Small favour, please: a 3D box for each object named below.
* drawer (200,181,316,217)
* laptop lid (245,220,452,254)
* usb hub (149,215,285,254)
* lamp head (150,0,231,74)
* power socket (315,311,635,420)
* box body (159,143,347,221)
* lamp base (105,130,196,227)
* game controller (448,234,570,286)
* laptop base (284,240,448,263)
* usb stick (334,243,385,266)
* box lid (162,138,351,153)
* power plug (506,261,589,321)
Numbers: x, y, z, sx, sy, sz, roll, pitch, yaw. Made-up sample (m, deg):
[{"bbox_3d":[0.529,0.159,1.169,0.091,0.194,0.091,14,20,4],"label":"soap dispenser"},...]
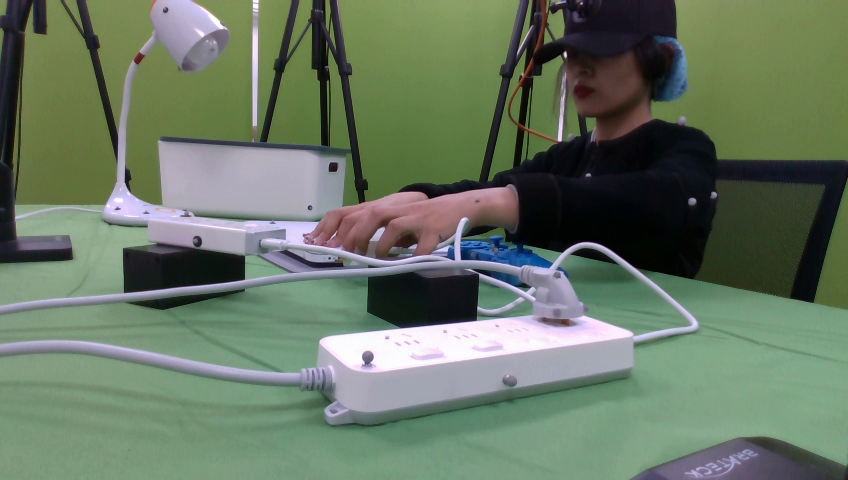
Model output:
[{"bbox_3d":[-0.372,-0.097,1.393,0.212,0.073,0.194,1,9,6],"label":"drawer"},{"bbox_3d":[-0.123,-0.009,0.945,0.243,0.013,0.355,0,8,-29],"label":"laptop lid"},{"bbox_3d":[-0.196,-0.006,0.573,0.125,0.025,0.050,7,8,23],"label":"usb hub"},{"bbox_3d":[-0.432,-0.374,1.086,0.123,0.112,0.112,42,8,-2],"label":"lamp head"},{"bbox_3d":[0.039,0.072,0.385,0.228,0.032,0.072,-2,7,-29],"label":"power socket"},{"bbox_3d":[-0.384,-0.137,1.406,0.364,0.160,0.254,3,8,7],"label":"box body"},{"bbox_3d":[-0.532,-0.120,1.153,0.179,0.180,0.161,1,7,8],"label":"lamp base"},{"bbox_3d":[0.099,0.022,0.756,0.097,0.051,0.154,-7,10,-29],"label":"game controller"},{"bbox_3d":[-0.125,0.003,0.946,0.237,0.023,0.352,2,6,-31],"label":"laptop base"},{"bbox_3d":[-0.075,0.016,0.690,0.059,0.027,0.021,-4,-1,19],"label":"usb stick"},{"bbox_3d":[-0.371,-0.215,1.394,0.371,0.015,0.263,4,8,7],"label":"box lid"},{"bbox_3d":[0.091,0.043,0.444,0.035,0.052,0.072,-1,5,-18],"label":"power plug"}]
